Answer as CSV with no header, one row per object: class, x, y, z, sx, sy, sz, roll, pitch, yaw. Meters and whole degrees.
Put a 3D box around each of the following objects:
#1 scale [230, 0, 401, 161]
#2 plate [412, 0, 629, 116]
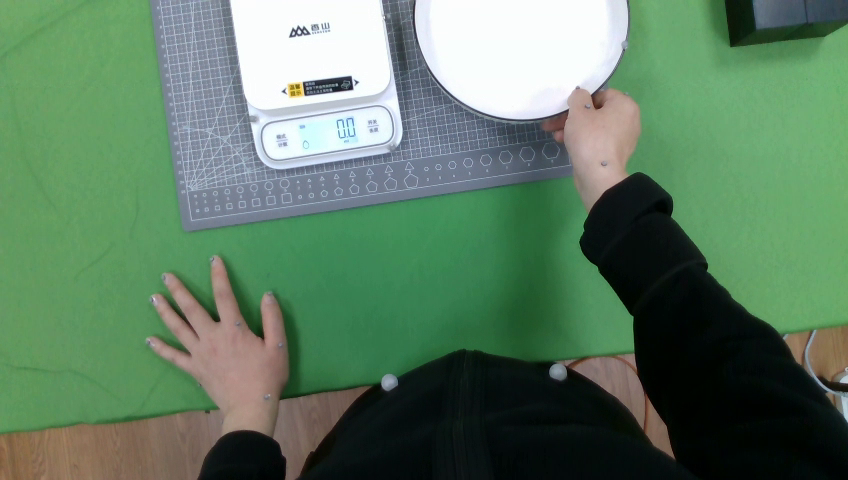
scale,-0.109,-0.187,0.603,0.149,0.031,0.201,-9,91,0
plate,0.093,-0.220,0.595,0.209,0.038,0.208,0,85,1
